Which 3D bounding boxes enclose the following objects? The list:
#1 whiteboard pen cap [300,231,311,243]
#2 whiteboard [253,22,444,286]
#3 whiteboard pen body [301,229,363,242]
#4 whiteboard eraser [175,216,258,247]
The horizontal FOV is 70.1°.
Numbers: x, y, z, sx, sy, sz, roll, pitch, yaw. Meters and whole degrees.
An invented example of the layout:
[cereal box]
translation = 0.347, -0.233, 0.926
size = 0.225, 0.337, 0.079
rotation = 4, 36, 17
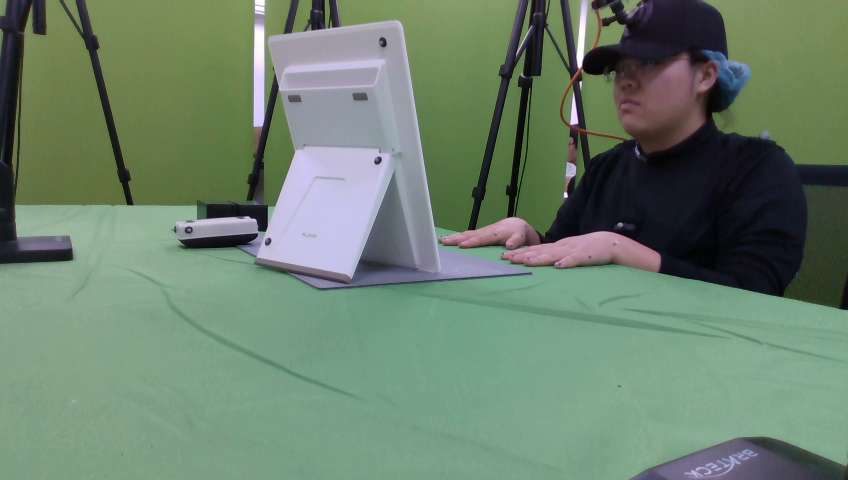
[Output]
[whiteboard pen cap]
translation = -0.189, -0.004, 0.965
size = 0.018, 0.018, 0.033
rotation = 2, 9, -9
[whiteboard]
translation = -0.125, -0.081, 0.715
size = 0.216, 0.305, 0.144
rotation = 9, 29, 36
[whiteboard pen body]
translation = -0.153, -0.007, 1.017
size = 0.017, 0.017, 0.141
rotation = 8, 9, 36
[whiteboard eraser]
translation = -0.313, -0.012, 0.915
size = 0.113, 0.042, 0.055
rotation = -5, 12, -30
